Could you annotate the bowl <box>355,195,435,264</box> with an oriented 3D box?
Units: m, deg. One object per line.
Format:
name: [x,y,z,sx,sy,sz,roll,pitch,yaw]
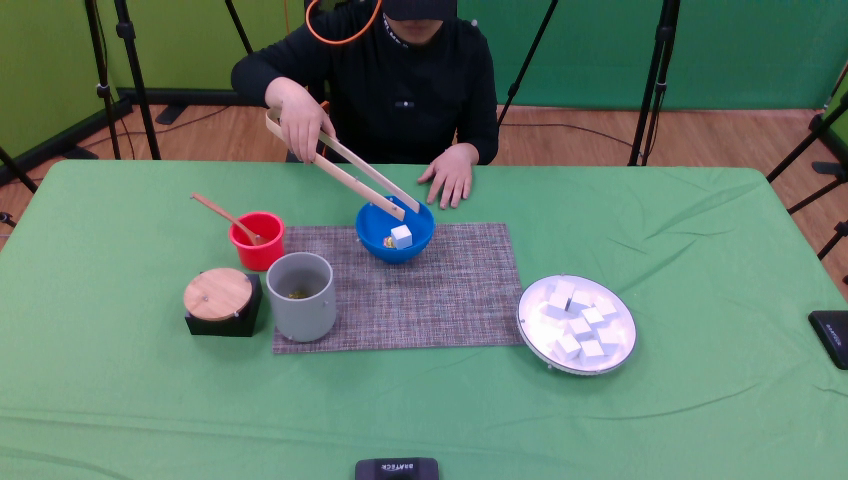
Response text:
bowl: [-0.056,-0.008,1.158,0.151,0.077,0.150,2,46,-2]

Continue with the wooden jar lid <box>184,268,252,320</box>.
wooden jar lid: [-0.343,0.092,1.015,0.108,0.021,0.107,3,46,-3]

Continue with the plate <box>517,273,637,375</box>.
plate: [0.264,0.149,1.060,0.209,0.038,0.208,3,46,-3]

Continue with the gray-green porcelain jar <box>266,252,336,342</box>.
gray-green porcelain jar: [-0.202,0.100,1.009,0.106,0.127,0.105,2,46,-2]

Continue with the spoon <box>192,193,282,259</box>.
spoon: [-0.342,-0.027,1.115,0.194,0.021,0.041,43,40,-24]

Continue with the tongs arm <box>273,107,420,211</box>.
tongs arm: [-0.155,-0.162,1.173,0.386,0.028,0.028,35,53,22]

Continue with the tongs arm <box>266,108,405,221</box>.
tongs arm: [-0.173,-0.150,1.156,0.383,0.026,0.050,33,48,20]
